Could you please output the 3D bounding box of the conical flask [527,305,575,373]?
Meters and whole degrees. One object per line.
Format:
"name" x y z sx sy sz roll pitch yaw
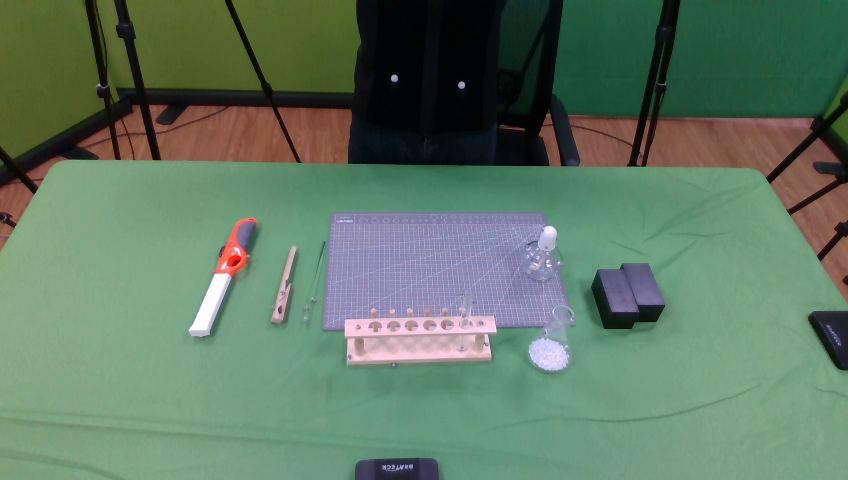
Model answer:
"conical flask" 0.215 0.157 0.996 0.075 0.122 0.075 2 46 -2

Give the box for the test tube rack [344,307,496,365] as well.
"test tube rack" -0.009 0.154 1.007 0.242 0.085 0.066 -1 46 -5

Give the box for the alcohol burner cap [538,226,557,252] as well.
"alcohol burner cap" 0.226 -0.004 1.104 0.034 0.048 0.033 0 50 1

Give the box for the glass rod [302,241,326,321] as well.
"glass rod" -0.203 0.071 1.124 0.008 0.008 0.198 4 44 1

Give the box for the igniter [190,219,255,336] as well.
"igniter" -0.364 0.058 1.110 0.057 0.025 0.275 -1 45 8

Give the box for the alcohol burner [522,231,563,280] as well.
"alcohol burner" 0.224 0.020 1.131 0.078 0.119 0.077 4 46 -4

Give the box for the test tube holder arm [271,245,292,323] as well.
"test tube holder arm" -0.259 0.076 1.106 0.013 0.015 0.177 29 38 -28

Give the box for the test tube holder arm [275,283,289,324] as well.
"test tube holder arm" -0.254 0.111 1.077 0.010 0.015 0.087 30 38 -27

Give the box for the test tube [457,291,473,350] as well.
"test tube" 0.064 0.132 0.965 0.017 0.151 0.017 1 48 -1
